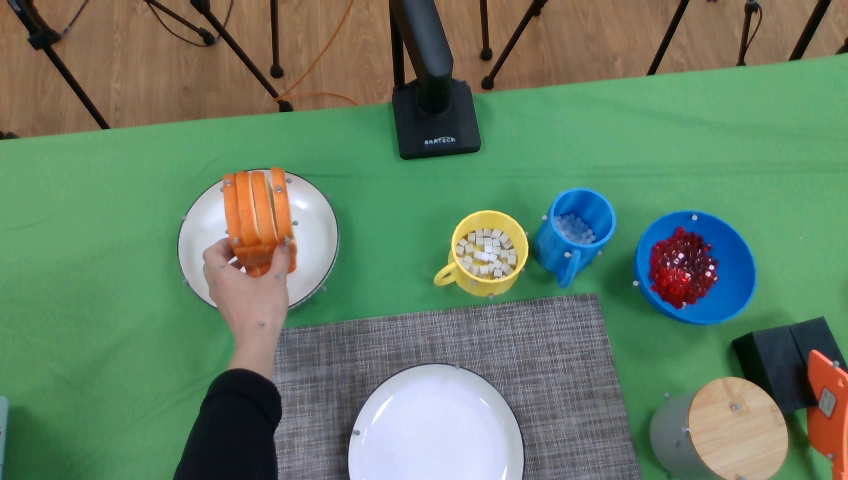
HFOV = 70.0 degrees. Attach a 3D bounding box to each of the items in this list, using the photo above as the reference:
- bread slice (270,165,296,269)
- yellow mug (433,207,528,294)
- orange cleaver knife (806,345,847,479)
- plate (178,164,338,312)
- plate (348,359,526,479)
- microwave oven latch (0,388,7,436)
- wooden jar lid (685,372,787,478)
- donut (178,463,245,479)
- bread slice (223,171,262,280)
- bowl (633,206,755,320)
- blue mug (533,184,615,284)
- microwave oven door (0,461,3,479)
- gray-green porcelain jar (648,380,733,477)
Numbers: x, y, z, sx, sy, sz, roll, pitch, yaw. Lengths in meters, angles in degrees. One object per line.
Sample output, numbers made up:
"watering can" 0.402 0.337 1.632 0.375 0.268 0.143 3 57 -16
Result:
"bread slice" -0.177 -0.031 0.763 0.019 0.132 0.104 -8 71 -13
"yellow mug" 0.069 0.022 0.794 0.131 0.064 0.099 -28 72 -10
"orange cleaver knife" 0.484 0.231 0.723 0.012 0.077 0.212 -10 100 -4
"plate" -0.217 -0.002 0.808 0.208 0.039 0.206 1 70 -2
"plate" 0.015 0.248 0.719 0.209 0.038 0.207 1 69 -1
"microwave oven latch" -0.504 0.210 0.697 0.030 0.029 0.078 -1 70 -3
"wooden jar lid" 0.327 0.195 0.640 0.108 0.021 0.107 1 70 -4
"donut" -0.244 0.305 0.689 0.099 0.048 0.098 2 69 -4
"bread slice" -0.227 -0.024 0.757 0.018 0.135 0.106 -10 66 -8
"bowl" 0.339 0.039 0.791 0.151 0.077 0.150 1 70 -1
"blue mug" 0.190 0.001 0.786 0.082 0.106 0.116 12 69 3
"microwave oven door" -0.475 0.377 0.527 0.039 0.245 0.353 -7 69 -4
"gray-green porcelain jar" 0.326 0.218 0.698 0.106 0.127 0.105 1 69 -2
